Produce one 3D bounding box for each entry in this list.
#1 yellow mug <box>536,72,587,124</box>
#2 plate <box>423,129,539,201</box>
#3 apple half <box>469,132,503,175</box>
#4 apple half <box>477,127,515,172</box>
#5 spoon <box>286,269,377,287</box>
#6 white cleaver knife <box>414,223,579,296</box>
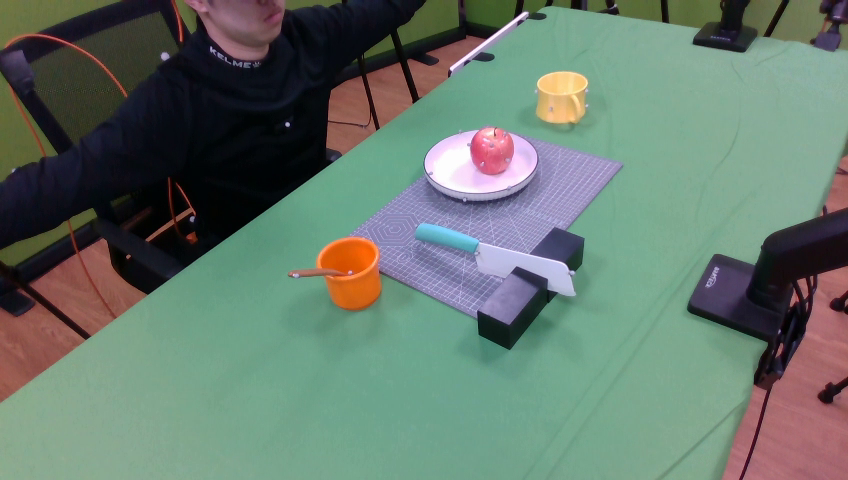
[{"bbox_3d":[0.284,-0.281,1.222,0.100,0.064,0.130,-16,42,-10],"label":"yellow mug"},{"bbox_3d":[0.103,-0.132,1.092,0.209,0.038,0.208,-4,40,4],"label":"plate"},{"bbox_3d":[0.102,-0.146,1.067,0.033,0.081,0.080,-28,44,-29],"label":"apple half"},{"bbox_3d":[0.132,-0.164,1.085,0.053,0.075,0.080,-28,41,-28],"label":"apple half"},{"bbox_3d":[-0.125,0.049,0.831,0.041,0.195,0.021,22,92,28],"label":"spoon"},{"bbox_3d":[0.093,0.028,0.880,0.284,0.066,0.021,17,44,40],"label":"white cleaver knife"}]
